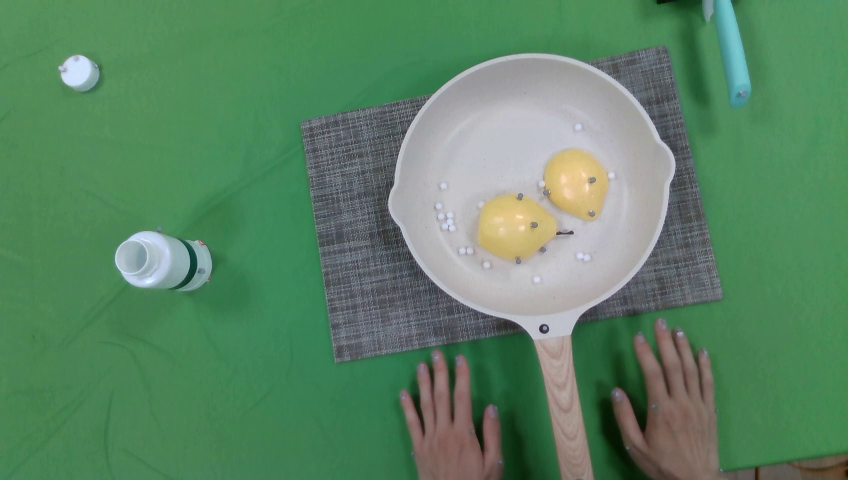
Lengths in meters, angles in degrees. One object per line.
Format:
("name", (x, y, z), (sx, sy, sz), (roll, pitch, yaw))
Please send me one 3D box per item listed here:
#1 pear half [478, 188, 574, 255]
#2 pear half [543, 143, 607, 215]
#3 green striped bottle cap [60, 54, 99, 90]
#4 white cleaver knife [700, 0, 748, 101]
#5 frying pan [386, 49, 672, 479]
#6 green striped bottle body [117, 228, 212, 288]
("pear half", (0.116, -0.021, 0.683), (0.110, 0.056, 0.076), (2, 90, 5))
("pear half", (0.175, -0.072, 0.692), (0.070, 0.031, 0.087), (-26, 79, 8))
("green striped bottle cap", (-0.450, -0.220, 0.791), (0.044, 0.020, 0.044), (-1, 84, 7))
("white cleaver knife", (0.324, -0.293, 0.684), (0.021, 0.066, 0.285), (-8, 81, 12))
("frying pan", (0.125, 0.038, 0.652), (0.306, 0.103, 0.485), (-8, 75, 7))
("green striped bottle body", (-0.301, 0.022, 0.699), (0.063, 0.119, 0.063), (-1, 83, 7))
